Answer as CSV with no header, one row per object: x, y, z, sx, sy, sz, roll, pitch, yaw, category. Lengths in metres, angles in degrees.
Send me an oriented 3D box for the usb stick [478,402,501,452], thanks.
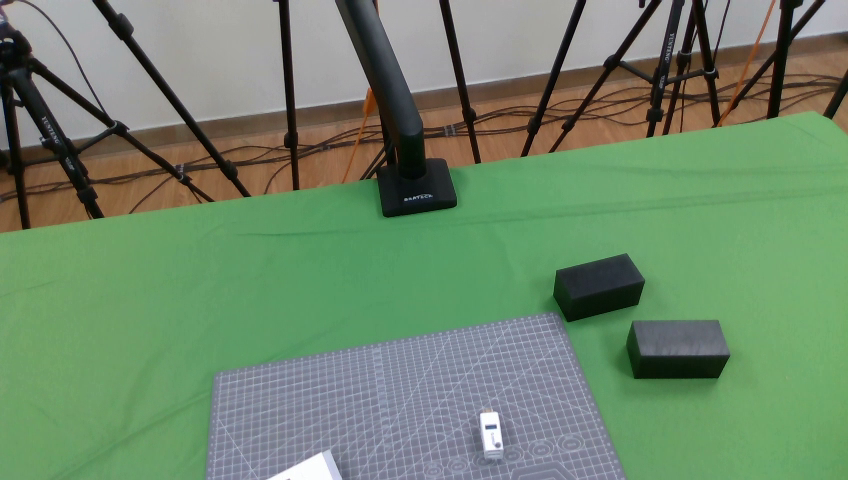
0.073,0.207,0.683,0.021,0.027,0.058,-6,44,2,usb stick

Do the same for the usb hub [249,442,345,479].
-0.150,0.266,0.645,0.125,0.025,0.049,-22,49,-17,usb hub
